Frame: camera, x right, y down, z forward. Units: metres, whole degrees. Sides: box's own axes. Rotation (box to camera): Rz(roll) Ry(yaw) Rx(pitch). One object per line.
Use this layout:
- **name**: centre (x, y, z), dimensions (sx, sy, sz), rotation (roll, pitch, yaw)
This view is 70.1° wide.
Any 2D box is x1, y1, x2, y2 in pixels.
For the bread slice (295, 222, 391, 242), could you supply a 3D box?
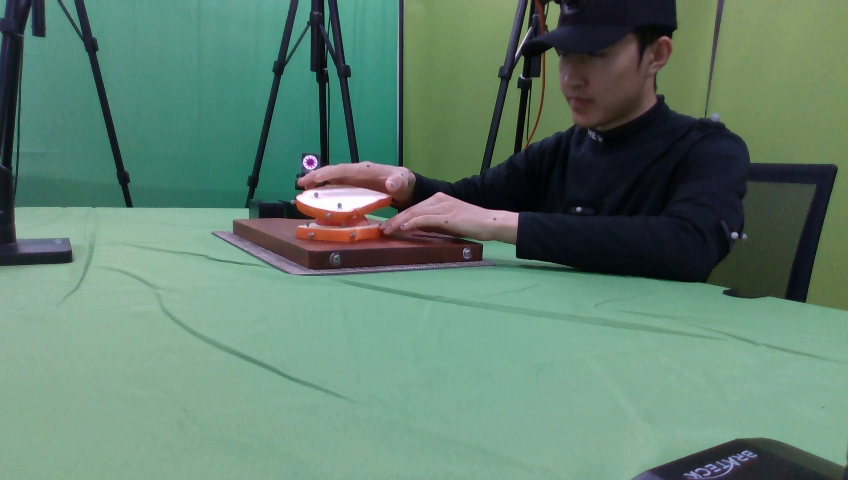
- **bread slice**: centre (-0.122, -0.014, 0.889), dimensions (0.104, 0.019, 0.132), rotation (3, 7, 23)

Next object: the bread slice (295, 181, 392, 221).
- **bread slice**: centre (-0.121, -0.057, 0.885), dimensions (0.106, 0.018, 0.134), rotation (13, 22, 18)
